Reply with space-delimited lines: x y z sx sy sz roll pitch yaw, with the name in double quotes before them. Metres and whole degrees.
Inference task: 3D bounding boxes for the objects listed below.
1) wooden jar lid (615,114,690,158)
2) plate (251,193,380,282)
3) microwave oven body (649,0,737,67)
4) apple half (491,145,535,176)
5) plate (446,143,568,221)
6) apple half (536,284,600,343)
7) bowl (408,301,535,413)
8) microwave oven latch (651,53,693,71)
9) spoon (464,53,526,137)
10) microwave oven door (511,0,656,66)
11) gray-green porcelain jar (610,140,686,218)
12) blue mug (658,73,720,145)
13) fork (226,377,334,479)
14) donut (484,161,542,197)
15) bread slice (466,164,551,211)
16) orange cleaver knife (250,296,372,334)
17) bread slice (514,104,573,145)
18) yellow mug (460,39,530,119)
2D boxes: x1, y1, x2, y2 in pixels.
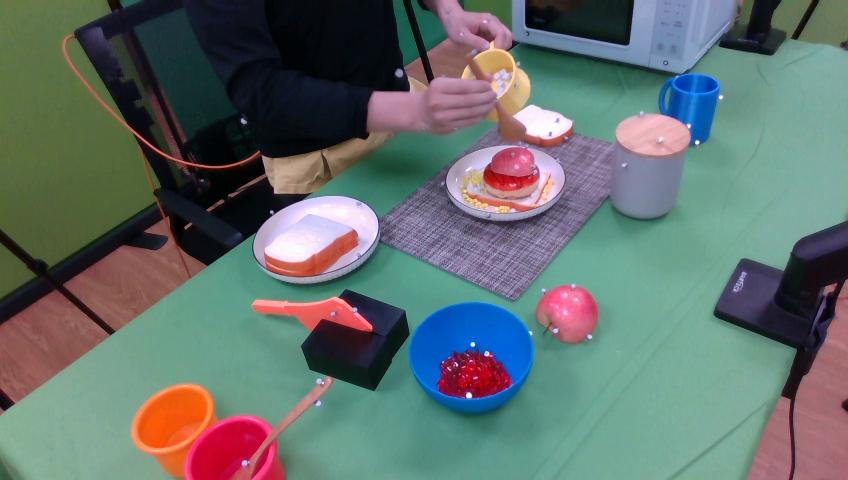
"wooden jar lid" 0.347 -0.155 0.923 0.108 0.021 0.108 -3 44 4
"plate" -0.173 -0.001 0.984 0.209 0.038 0.208 -4 41 4
"microwave oven body" 0.475 -0.602 1.411 0.438 0.261 0.327 23 50 32
"apple half" 0.147 -0.138 0.994 0.081 0.033 0.081 0 37 0
"plate" 0.142 -0.096 1.045 0.207 0.039 0.206 -4 40 4
"apple half" 0.196 0.091 0.815 0.075 0.053 0.080 -22 42 -20
"bowl" 0.060 0.156 0.739 0.151 0.077 0.150 -4 40 4
"microwave oven latch" 0.532 -0.386 1.301 0.078 0.029 0.030 27 52 34
"spoon" 0.098 -0.199 0.852 0.041 0.195 0.021 -19 54 22
"microwave oven door" 0.351 -0.540 1.349 0.353 0.245 0.039 24 50 31
"gray-green porcelain jar" 0.354 -0.106 0.964 0.106 0.127 0.105 -4 41 4
"blue mug" 0.483 -0.250 1.127 0.082 0.106 0.115 -26 44 -19
"fork" -0.163 0.216 0.647 0.207 0.019 0.028 -49 41 16
"donut" 0.149 -0.109 1.016 0.099 0.048 0.098 -4 40 4
"bread slice" 0.141 -0.092 1.043 0.133 0.018 0.107 11 44 19
"orange cleaver knife" -0.158 0.103 0.828 0.210 0.078 0.012 -4 43 39
"bread slice" 0.231 -0.231 1.205 0.105 0.019 0.130 -37 47 -28
"yellow mug" 0.120 -0.276 1.014 0.099 0.064 0.130 -5 72 31
